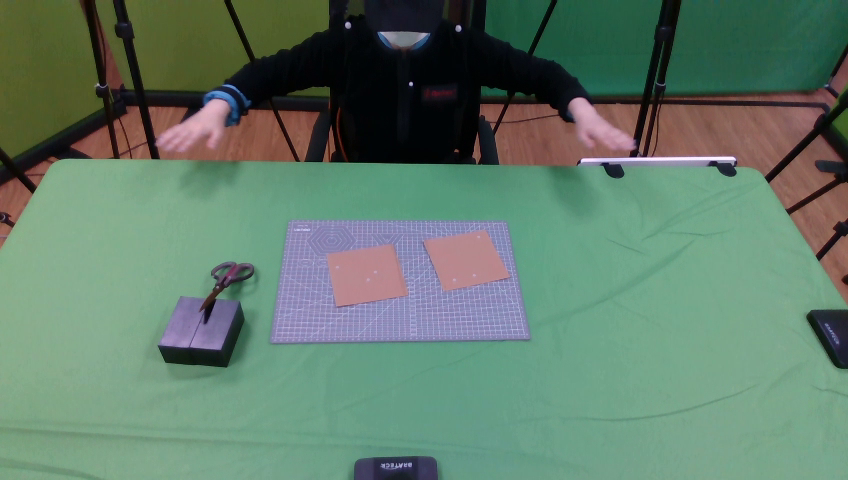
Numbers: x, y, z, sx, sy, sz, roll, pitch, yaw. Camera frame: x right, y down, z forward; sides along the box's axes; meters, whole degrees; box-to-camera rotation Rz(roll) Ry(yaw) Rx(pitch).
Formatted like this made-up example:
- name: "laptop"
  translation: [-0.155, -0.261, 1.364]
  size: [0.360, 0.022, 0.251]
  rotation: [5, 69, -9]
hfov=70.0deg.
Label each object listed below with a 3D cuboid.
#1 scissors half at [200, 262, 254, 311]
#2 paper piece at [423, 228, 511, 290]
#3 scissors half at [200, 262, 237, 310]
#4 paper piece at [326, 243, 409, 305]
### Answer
- name: "scissors half"
  translation: [-0.343, 0.079, 1.058]
  size: [0.040, 0.013, 0.174]
  rotation: [3, 24, 13]
- name: "paper piece"
  translation: [0.082, 0.034, 1.176]
  size: [0.138, 0.009, 0.135]
  rotation: [-8, 52, -15]
- name: "scissors half"
  translation: [-0.363, 0.079, 1.058]
  size: [0.040, 0.013, 0.174]
  rotation: [1, 23, -5]
- name: "paper piece"
  translation: [-0.108, 0.061, 1.135]
  size: [0.136, 0.004, 0.134]
  rotation: [-8, 46, -12]
